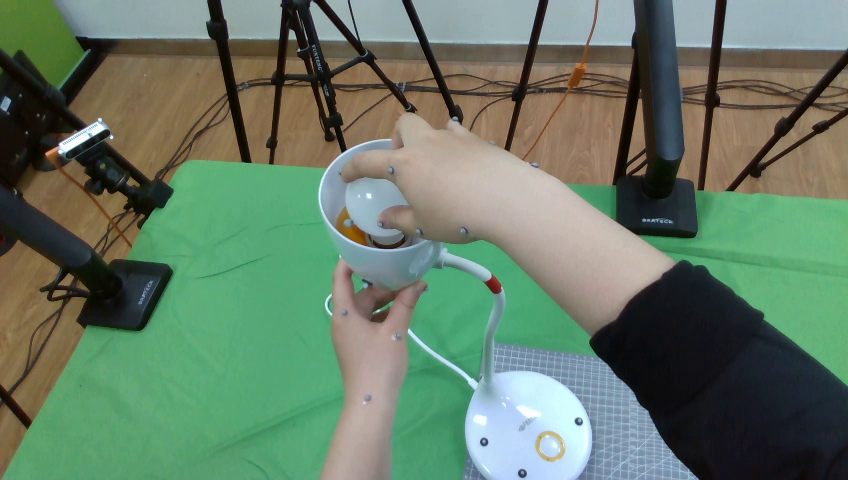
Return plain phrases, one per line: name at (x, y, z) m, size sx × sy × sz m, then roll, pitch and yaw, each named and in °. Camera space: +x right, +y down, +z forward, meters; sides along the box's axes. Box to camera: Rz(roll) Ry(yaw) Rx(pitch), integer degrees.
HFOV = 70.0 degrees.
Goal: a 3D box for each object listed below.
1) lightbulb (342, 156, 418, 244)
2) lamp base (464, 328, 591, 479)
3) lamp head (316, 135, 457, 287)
lightbulb at (-0.034, -0.025, 0.497) m, size 0.059 × 0.108 × 0.059 m, roll 0°, pitch 62°, yaw 1°
lamp base at (0.112, 0.184, 0.721) m, size 0.177 × 0.182 × 0.160 m, roll 28°, pitch 62°, yaw 29°
lamp head at (-0.026, -0.011, 0.523) m, size 0.112 × 0.124 × 0.111 m, roll -2°, pitch 57°, yaw 4°
